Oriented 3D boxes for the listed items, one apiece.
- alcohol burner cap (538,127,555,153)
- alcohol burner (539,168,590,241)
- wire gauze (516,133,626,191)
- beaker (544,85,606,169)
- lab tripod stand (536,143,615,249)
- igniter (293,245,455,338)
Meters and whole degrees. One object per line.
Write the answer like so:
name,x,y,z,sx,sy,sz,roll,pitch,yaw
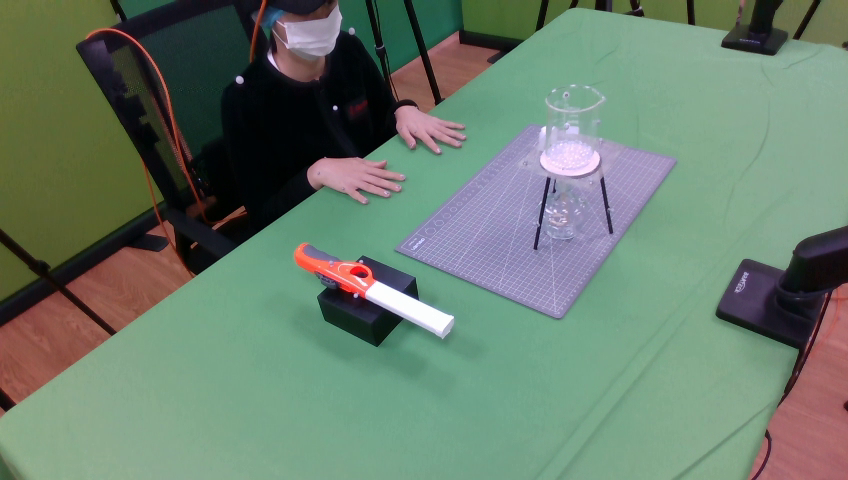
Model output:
alcohol burner cap,0.234,-0.191,1.147,0.034,0.048,0.033,-5,40,5
alcohol burner,0.217,-0.059,0.935,0.078,0.119,0.077,-6,40,6
wire gauze,0.217,-0.122,0.893,0.124,0.011,0.122,20,47,32
beaker,0.212,-0.158,0.861,0.084,0.101,0.073,-3,41,6
lab tripod stand,0.224,-0.069,0.931,0.148,0.132,0.147,-4,42,4
igniter,-0.079,0.065,0.833,0.274,0.025,0.057,23,48,27
